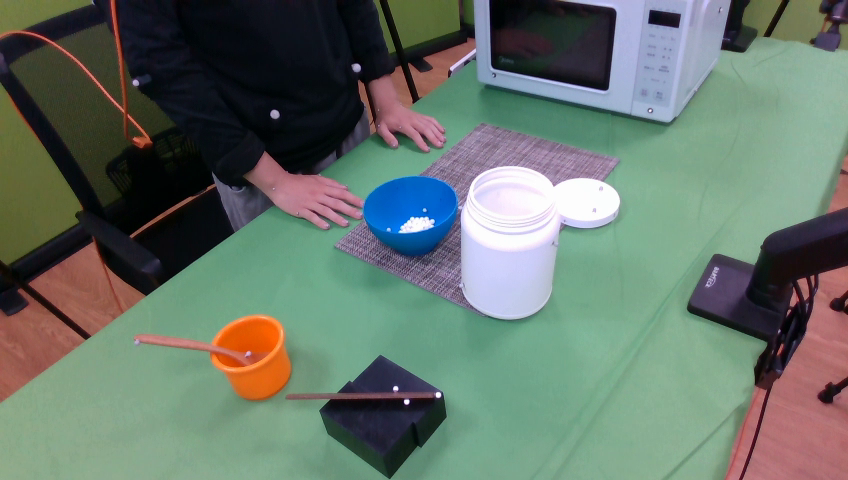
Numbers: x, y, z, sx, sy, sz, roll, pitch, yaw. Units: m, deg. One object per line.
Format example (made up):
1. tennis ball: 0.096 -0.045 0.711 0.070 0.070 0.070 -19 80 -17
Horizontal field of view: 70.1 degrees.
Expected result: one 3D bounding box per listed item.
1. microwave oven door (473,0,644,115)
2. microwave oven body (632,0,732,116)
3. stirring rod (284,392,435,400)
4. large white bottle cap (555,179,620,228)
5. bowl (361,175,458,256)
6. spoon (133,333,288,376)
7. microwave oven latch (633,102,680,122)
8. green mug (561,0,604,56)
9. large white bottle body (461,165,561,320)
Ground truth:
1. microwave oven door: 0.257 -0.396 1.199 0.353 0.245 0.039 21 48 29
2. microwave oven body: 0.377 -0.462 1.267 0.438 0.261 0.327 21 48 30
3. stirring rod: -0.075 0.180 0.698 0.176 0.006 0.014 -2 6 6
4. large white bottle cap: 0.265 -0.062 1.001 0.115 0.018 0.114 -4 41 4
5. bowl: -0.018 -0.028 0.955 0.151 0.077 0.150 -4 40 4
6. spoon: -0.257 0.137 0.747 0.021 0.195 0.041 -47 40 23
7. microwave oven latch: 0.444 -0.249 1.157 0.078 0.029 0.030 21 49 30
8. green mug: 0.334 -0.450 1.293 0.092 0.105 0.125 9 48 22
9. large white bottle body: 0.115 0.004 0.815 0.130 0.185 0.130 -2 43 2
